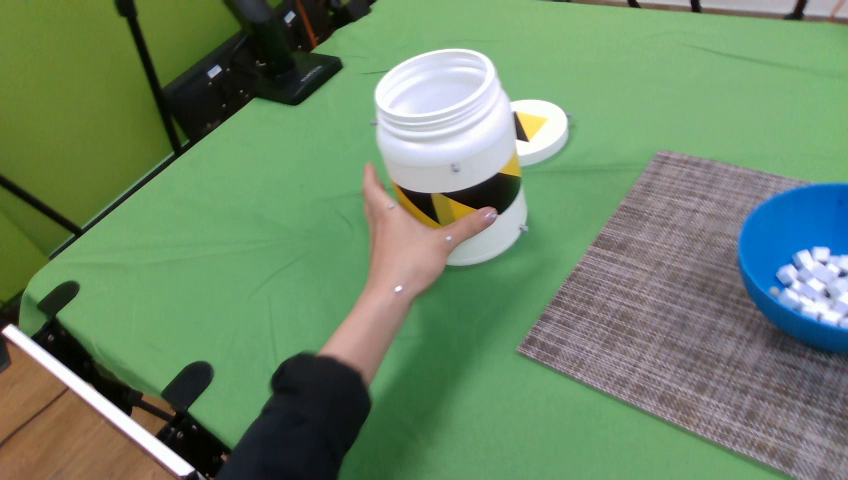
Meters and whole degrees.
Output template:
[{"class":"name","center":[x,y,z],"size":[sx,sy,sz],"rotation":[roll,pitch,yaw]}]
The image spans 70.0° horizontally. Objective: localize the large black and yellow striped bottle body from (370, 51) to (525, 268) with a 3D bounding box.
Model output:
[{"class":"large black and yellow striped bottle body","center":[0.025,-0.077,0.600],"size":[0.130,0.186,0.129],"rotation":[-10,44,10]}]

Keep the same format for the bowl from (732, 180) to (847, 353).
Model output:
[{"class":"bowl","center":[0.314,0.033,0.462],"size":[0.151,0.077,0.150],"rotation":[-10,45,10]}]

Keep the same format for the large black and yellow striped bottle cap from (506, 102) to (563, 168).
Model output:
[{"class":"large black and yellow striped bottle cap","center":[0.113,-0.131,0.747],"size":[0.115,0.019,0.114],"rotation":[-9,45,9]}]
